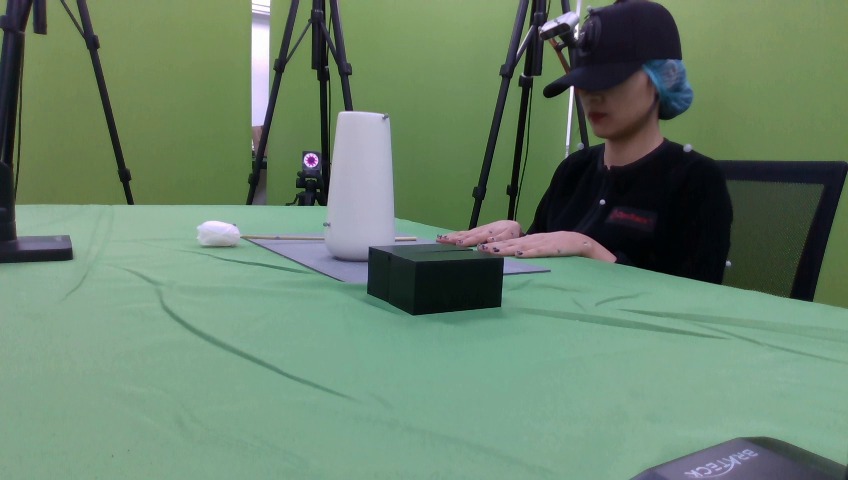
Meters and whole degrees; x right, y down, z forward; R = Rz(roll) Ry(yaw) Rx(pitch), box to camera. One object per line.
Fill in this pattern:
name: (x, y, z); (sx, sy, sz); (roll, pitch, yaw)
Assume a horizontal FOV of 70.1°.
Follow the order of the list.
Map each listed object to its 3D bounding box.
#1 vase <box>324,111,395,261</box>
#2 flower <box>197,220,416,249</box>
vase: (-0.087, -0.073, 0.829); (0.098, 0.200, 0.098); (2, 9, 0)
flower: (-0.174, -0.001, 0.978); (0.364, 0.038, 0.044); (4, -31, -29)
